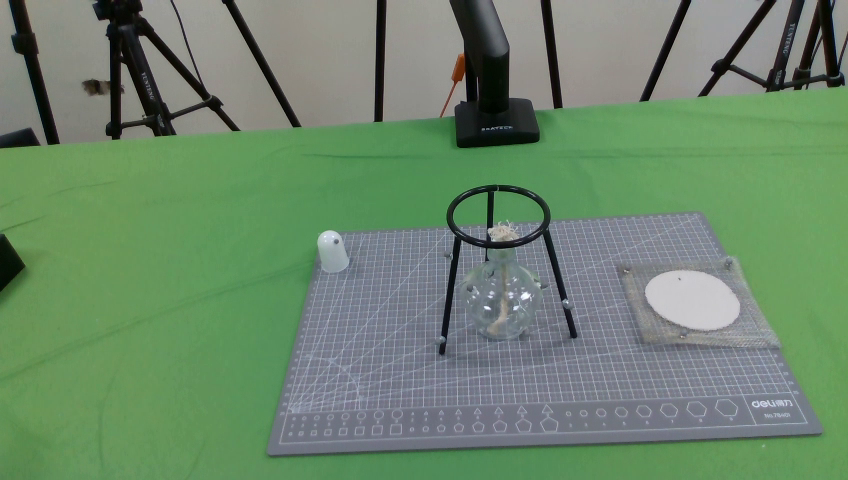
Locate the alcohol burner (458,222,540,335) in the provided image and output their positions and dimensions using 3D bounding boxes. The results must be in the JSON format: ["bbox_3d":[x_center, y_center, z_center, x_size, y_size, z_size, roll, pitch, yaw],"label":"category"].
[{"bbox_3d":[0.070,0.031,0.563,0.078,0.120,0.077,-2,39,2],"label":"alcohol burner"}]

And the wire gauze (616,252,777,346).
[{"bbox_3d":[0.262,0.054,0.595,0.125,0.011,0.120,0,40,4],"label":"wire gauze"}]

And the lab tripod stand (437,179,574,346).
[{"bbox_3d":[0.071,0.022,0.559,0.148,0.133,0.147,-2,38,2],"label":"lab tripod stand"}]

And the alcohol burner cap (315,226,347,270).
[{"bbox_3d":[-0.105,0.006,0.674,0.034,0.048,0.033,-3,40,3],"label":"alcohol burner cap"}]
